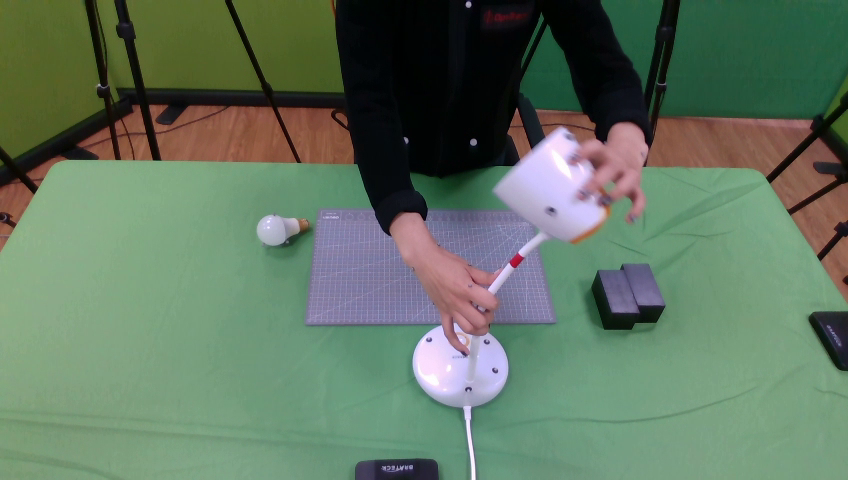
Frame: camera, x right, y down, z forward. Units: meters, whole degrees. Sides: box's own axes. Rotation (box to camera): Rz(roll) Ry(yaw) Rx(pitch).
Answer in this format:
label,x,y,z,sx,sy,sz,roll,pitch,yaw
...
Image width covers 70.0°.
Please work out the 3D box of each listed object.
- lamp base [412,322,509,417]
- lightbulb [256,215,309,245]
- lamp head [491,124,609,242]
label,x,y,z,sx,sy,sz,roll,pitch,yaw
lamp base,0.067,0.160,0.941,0.161,0.181,0.178,-6,50,-10
lightbulb,-0.274,-0.024,1.183,0.108,0.060,0.059,-13,46,-37
lamp head,0.154,-0.054,0.714,0.112,0.112,0.123,-38,89,-32
